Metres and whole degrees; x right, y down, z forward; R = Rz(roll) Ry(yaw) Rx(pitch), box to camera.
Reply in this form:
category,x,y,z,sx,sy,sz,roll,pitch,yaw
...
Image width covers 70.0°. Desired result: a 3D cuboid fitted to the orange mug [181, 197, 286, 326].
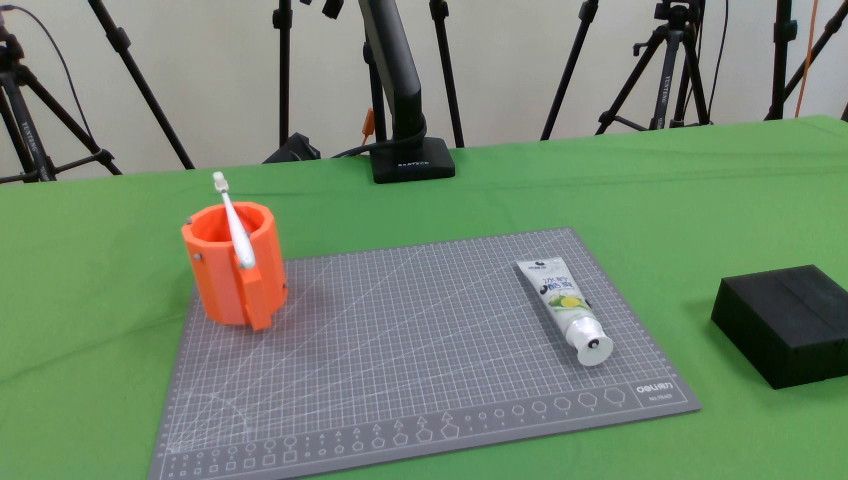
category,x,y,z,sx,sy,sz,roll,pitch,yaw
orange mug,-0.183,0.026,0.605,0.084,0.101,0.125,-18,33,-23

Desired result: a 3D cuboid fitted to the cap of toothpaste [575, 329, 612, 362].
category,x,y,z,sx,sy,sz,roll,pitch,yaw
cap of toothpaste,0.152,0.094,0.546,0.037,0.037,0.011,-11,35,-13

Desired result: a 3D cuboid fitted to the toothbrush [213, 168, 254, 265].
category,x,y,z,sx,sy,sz,roll,pitch,yaw
toothbrush,-0.188,-0.028,0.591,0.014,0.017,0.180,-11,35,-21

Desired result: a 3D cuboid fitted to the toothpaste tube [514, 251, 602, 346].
category,x,y,z,sx,sy,sz,roll,pitch,yaw
toothpaste tube,0.141,0.055,0.616,0.055,0.035,0.163,-1,29,-10
